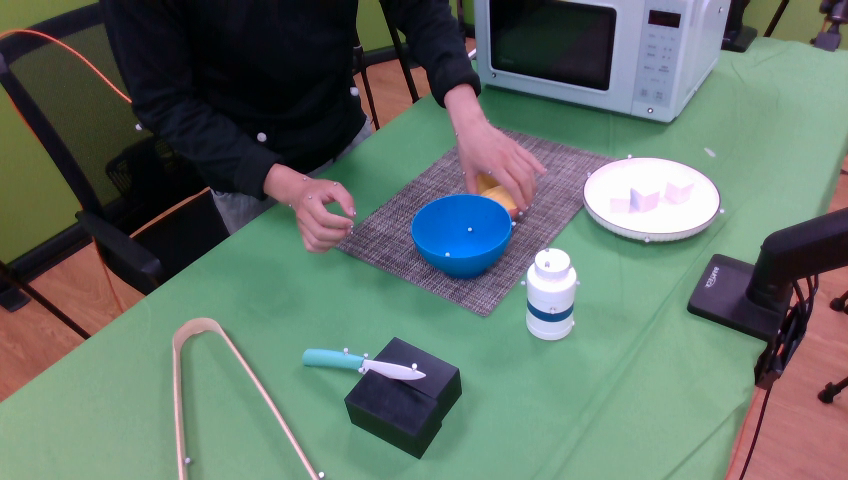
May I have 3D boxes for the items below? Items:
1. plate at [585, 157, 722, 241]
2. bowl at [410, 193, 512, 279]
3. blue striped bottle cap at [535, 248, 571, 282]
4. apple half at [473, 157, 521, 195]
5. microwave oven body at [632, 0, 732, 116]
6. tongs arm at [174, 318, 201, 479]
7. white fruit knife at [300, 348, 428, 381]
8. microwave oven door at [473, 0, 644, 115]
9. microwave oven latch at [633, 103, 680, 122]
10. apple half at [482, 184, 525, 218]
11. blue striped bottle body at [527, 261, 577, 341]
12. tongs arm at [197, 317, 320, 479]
[{"bbox_3d":[0.367,-0.063,0.979,0.207,0.039,0.206,-4,40,4],"label":"plate"},{"bbox_3d":[0.057,0.005,0.904,0.151,0.077,0.150,-4,40,4],"label":"bowl"},{"bbox_3d":[0.161,0.031,0.753,0.044,0.021,0.044,-4,42,4],"label":"blue striped bottle cap"},{"bbox_3d":[0.128,-0.107,1.030,0.080,0.075,0.053,4,37,19],"label":"apple half"},{"bbox_3d":[0.377,-0.462,1.267,0.438,0.261,0.327,21,49,30],"label":"microwave oven body"},{"bbox_3d":[-0.272,0.234,0.723,0.051,0.026,0.381,-19,40,-14],"label":"tongs arm"},{"bbox_3d":[-0.080,0.154,0.748,0.206,0.027,0.016,0,20,34],"label":"white fruit knife"},{"bbox_3d":[0.257,-0.396,1.199,0.353,0.245,0.039,21,48,29],"label":"microwave oven door"},{"bbox_3d":[0.444,-0.249,1.157,0.078,0.029,0.030,21,49,30],"label":"microwave oven latch"},{"bbox_3d":[0.126,-0.054,0.972,0.081,0.033,0.081,-15,36,12],"label":"apple half"},{"bbox_3d":[0.165,0.070,0.786,0.063,0.121,0.063,-5,41,4],"label":"blue striped bottle body"},{"bbox_3d":[-0.199,0.206,0.750,0.028,0.028,0.384,-31,45,-22],"label":"tongs arm"}]
